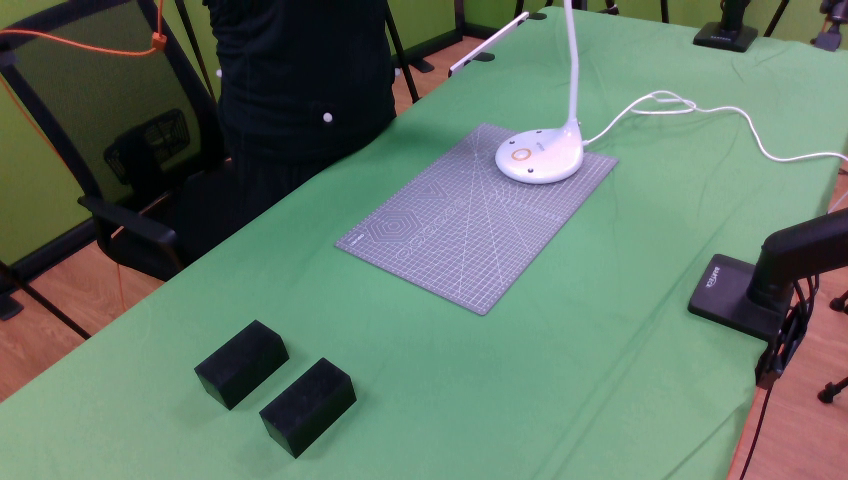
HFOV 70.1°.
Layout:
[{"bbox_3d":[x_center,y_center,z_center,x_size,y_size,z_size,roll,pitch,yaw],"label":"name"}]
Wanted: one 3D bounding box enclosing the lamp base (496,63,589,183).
[{"bbox_3d":[0.216,-0.217,1.067,0.180,0.181,0.159,-19,42,-18],"label":"lamp base"}]
